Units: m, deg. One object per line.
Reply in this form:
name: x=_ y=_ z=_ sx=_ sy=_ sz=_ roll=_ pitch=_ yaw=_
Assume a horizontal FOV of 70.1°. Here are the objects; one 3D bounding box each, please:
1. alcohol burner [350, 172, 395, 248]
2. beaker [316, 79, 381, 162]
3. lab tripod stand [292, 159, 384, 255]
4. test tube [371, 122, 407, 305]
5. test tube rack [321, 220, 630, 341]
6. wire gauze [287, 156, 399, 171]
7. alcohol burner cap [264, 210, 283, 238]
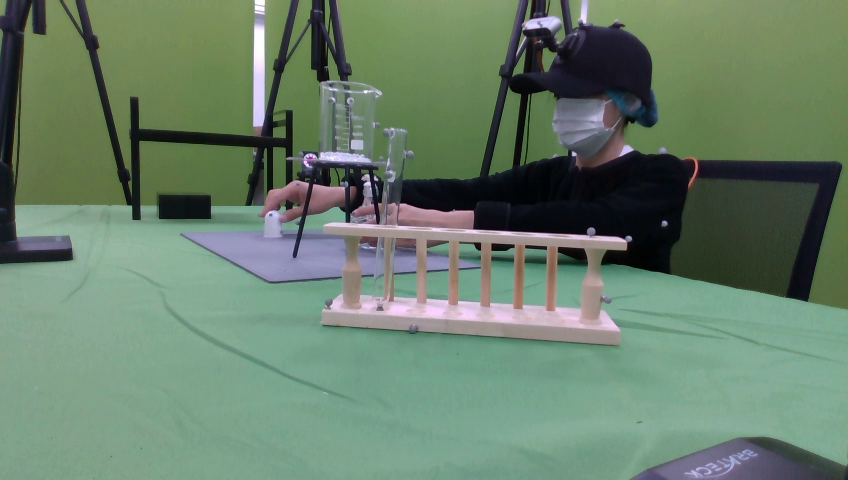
alcohol burner: x=-0.084 y=-0.048 z=0.953 sx=0.078 sy=0.119 sz=0.078 roll=1 pitch=6 yaw=0
beaker: x=-0.098 y=-0.151 z=0.778 sx=0.084 sy=0.100 sz=0.074 roll=4 pitch=7 yaw=6
lab tripod stand: x=-0.105 y=-0.039 z=0.797 sx=0.148 sy=0.131 sz=0.148 roll=2 pitch=5 yaw=0
test tube: x=-0.029 y=-0.020 z=0.493 sx=0.017 sy=0.150 sz=0.017 roll=6 pitch=9 yaw=-1
test tube rack: x=0.041 y=0.029 z=0.512 sx=0.242 sy=0.085 sz=0.067 roll=3 pitch=7 yaw=5
wire gauze: x=-0.101 y=-0.103 z=0.788 sx=0.121 sy=0.011 sz=0.125 roll=5 pitch=4 yaw=6
alcohol burner cap: x=-0.255 y=-0.027 z=1.025 sx=0.034 sy=0.048 sz=0.034 roll=2 pitch=6 yaw=0
